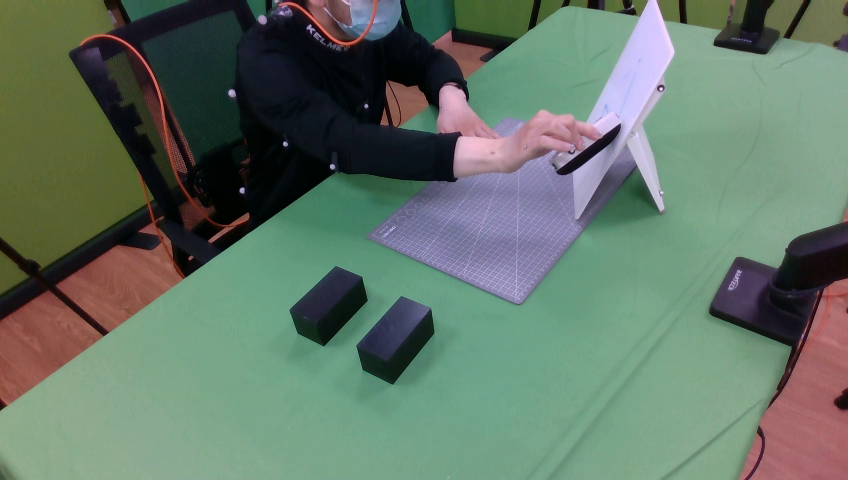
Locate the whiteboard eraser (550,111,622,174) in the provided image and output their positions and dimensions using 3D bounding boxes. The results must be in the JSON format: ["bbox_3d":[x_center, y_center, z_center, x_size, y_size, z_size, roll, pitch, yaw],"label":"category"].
[{"bbox_3d":[0.245,-0.144,0.910,0.112,0.055,0.042,-38,86,3],"label":"whiteboard eraser"}]

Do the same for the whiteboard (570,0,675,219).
[{"bbox_3d":[0.364,-0.187,0.965,0.144,0.305,0.216,18,42,-3],"label":"whiteboard"}]
